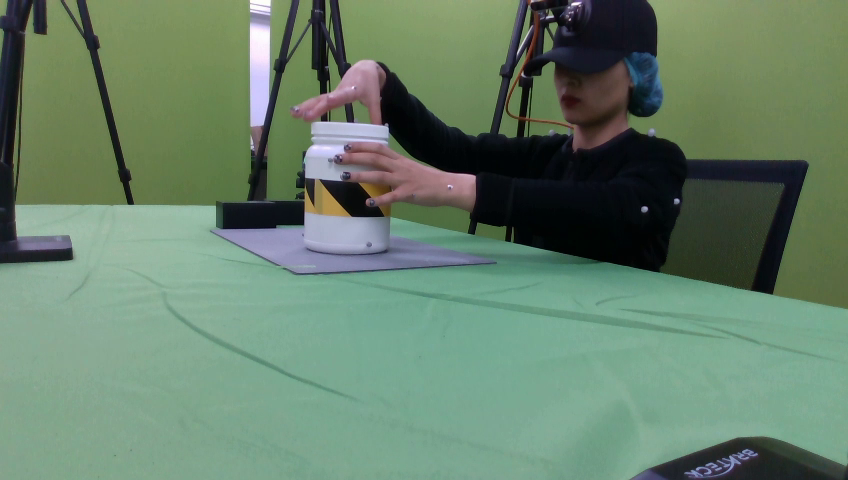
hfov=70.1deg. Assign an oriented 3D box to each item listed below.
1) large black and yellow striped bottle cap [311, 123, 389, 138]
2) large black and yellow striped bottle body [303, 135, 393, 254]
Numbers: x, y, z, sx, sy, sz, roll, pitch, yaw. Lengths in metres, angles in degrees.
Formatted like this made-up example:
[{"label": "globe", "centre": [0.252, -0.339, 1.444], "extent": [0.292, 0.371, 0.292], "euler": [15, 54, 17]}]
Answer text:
[{"label": "large black and yellow striped bottle cap", "centre": [-0.110, -0.162, 0.898], "extent": [0.115, 0.019, 0.115], "euler": [2, 7, 0]}, {"label": "large black and yellow striped bottle body", "centre": [-0.114, -0.077, 0.912], "extent": [0.131, 0.184, 0.130], "euler": [3, 8, 0]}]
